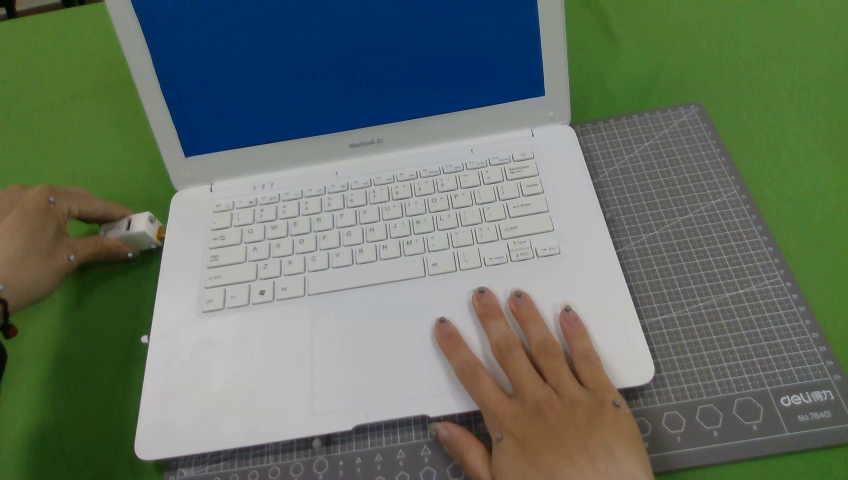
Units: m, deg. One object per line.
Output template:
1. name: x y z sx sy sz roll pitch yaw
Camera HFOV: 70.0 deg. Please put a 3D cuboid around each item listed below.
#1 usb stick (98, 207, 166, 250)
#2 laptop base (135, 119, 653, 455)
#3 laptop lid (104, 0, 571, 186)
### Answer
1. usb stick: -0.238 -0.011 0.509 0.059 0.027 0.021 -10 55 5
2. laptop base: -0.034 0.024 0.467 0.354 0.023 0.233 -9 59 3
3. laptop lid: -0.066 -0.174 0.480 0.357 0.243 0.013 -11 26 3
